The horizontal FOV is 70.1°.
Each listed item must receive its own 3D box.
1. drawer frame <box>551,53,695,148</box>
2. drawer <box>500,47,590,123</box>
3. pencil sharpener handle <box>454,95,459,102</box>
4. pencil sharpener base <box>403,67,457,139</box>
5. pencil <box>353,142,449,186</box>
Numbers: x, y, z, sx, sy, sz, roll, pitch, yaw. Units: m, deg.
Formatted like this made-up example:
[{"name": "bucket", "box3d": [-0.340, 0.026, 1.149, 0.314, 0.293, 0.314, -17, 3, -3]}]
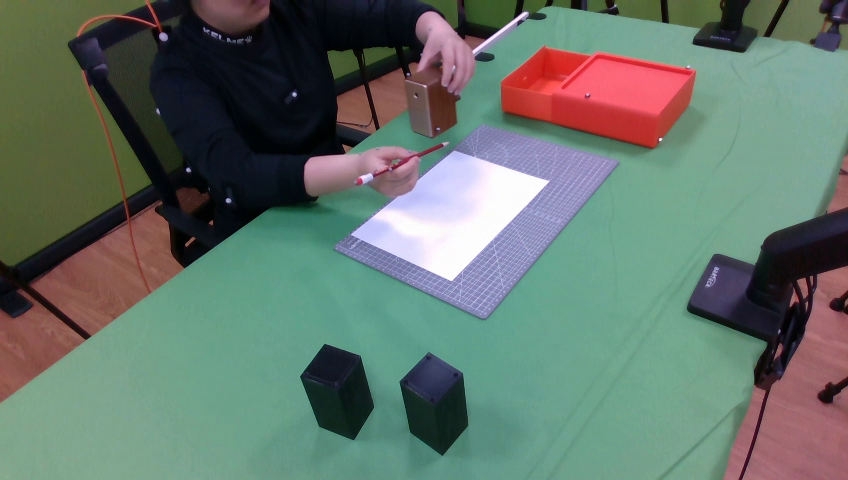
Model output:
[{"name": "drawer frame", "box3d": [0.391, -0.281, 1.196, 0.212, 0.083, 0.202, 22, 48, 29]}, {"name": "drawer", "box3d": [0.296, -0.316, 1.255, 0.210, 0.073, 0.195, 22, 47, 29]}, {"name": "pencil sharpener handle", "box3d": [0.048, -0.286, 1.126, 0.035, 0.068, 0.031, 24, 47, 39]}, {"name": "pencil sharpener base", "box3d": [0.014, -0.251, 1.106, 0.061, 0.107, 0.077, 26, 48, 38]}, {"name": "pencil", "box3d": [-0.030, -0.121, 0.936, 0.195, 0.012, 0.012, -29, 44, -33]}]
